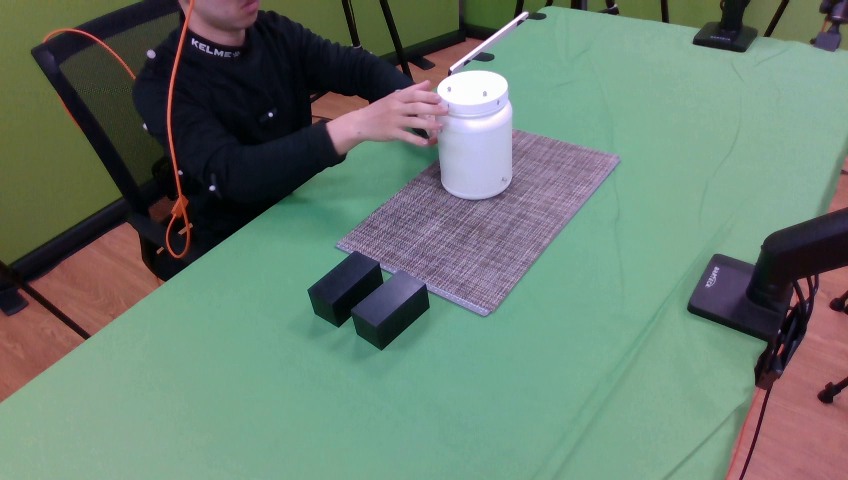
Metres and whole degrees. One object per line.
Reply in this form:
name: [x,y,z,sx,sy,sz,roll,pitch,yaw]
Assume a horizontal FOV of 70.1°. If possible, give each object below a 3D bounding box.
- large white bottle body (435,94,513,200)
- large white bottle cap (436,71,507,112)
large white bottle body: [0.087,-0.176,1.031,0.130,0.185,0.130,-4,41,4]
large white bottle cap: [0.077,-0.241,0.976,0.115,0.018,0.114,-4,41,4]
